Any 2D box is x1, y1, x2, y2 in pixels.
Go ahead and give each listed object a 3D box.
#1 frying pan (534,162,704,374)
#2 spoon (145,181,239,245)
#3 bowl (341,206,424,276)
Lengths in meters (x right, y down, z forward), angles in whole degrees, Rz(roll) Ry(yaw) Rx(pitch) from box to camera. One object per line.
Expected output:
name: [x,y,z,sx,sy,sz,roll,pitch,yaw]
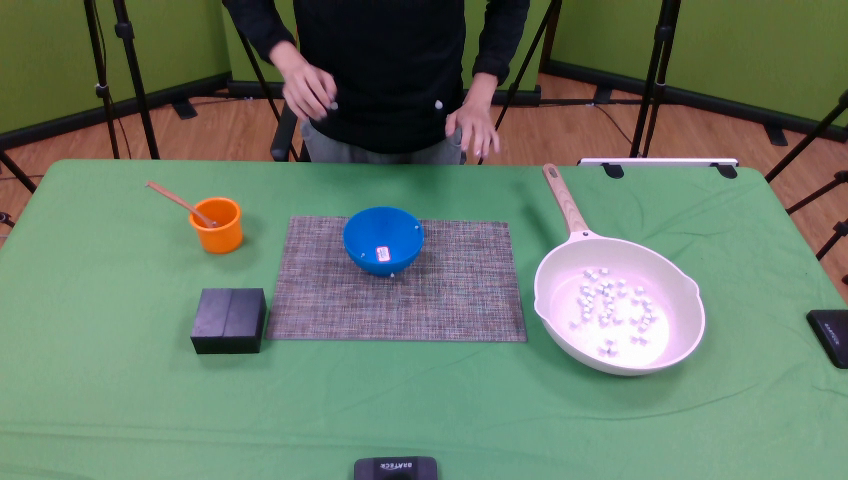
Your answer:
frying pan: [0.314,0.034,1.133,0.307,0.103,0.484,-7,56,-12]
spoon: [-0.429,-0.052,1.126,0.021,0.195,0.041,-27,34,33]
bowl: [-0.079,0.014,1.133,0.151,0.077,0.150,2,46,-2]
